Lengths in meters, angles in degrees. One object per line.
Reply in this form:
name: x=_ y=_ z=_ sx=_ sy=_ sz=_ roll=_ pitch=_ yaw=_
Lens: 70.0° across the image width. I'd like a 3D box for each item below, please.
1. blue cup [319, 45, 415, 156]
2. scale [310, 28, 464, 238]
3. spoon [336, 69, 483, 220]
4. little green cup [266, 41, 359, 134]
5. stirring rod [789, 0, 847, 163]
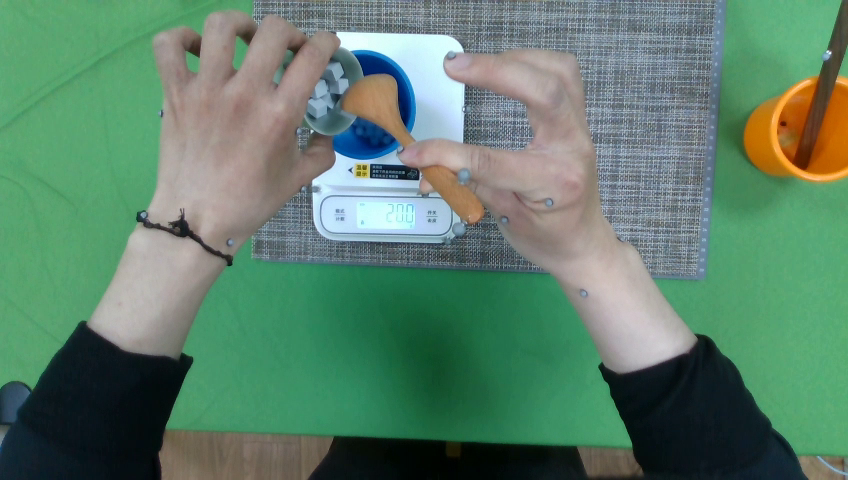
blue cup: x=-0.046 y=-0.115 z=0.524 sx=0.092 sy=0.100 sz=0.093 roll=0 pitch=98 yaw=3
scale: x=-0.037 y=-0.102 z=0.590 sx=0.148 sy=0.031 sz=0.201 roll=1 pitch=96 yaw=3
spoon: x=-0.011 y=-0.061 z=0.346 sx=0.041 sy=0.191 sz=0.022 roll=-31 pitch=133 yaw=-5
little green cup: x=-0.079 y=-0.110 z=0.429 sx=0.038 sy=0.062 sz=0.061 roll=25 pitch=97 yaw=28
stirring rod: x=0.340 y=-0.134 z=0.519 sx=0.014 sy=0.005 sz=0.178 roll=-12 pitch=137 yaw=5
